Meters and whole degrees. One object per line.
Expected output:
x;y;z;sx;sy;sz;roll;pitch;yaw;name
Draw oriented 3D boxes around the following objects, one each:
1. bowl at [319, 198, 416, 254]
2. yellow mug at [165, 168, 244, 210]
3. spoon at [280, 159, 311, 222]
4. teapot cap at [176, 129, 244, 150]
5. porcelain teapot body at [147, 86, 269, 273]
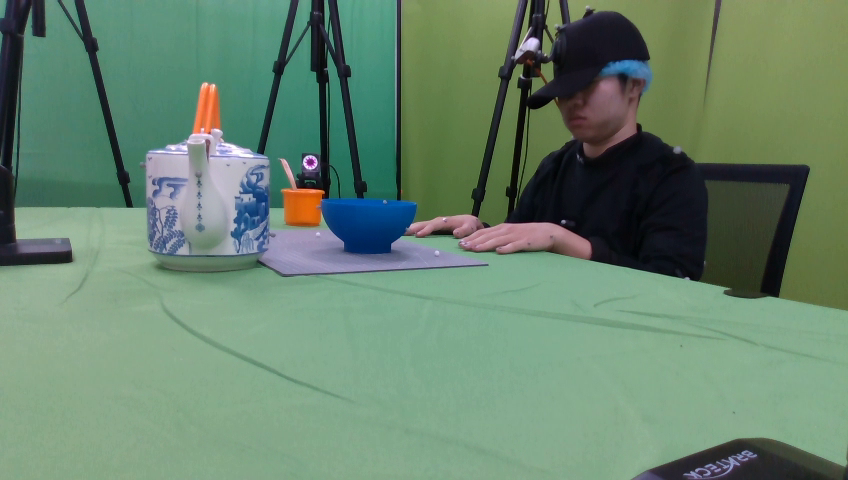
-0.089;-0.022;0.941;0.151;0.077;0.151;2;7;0;bowl
-0.370;-0.086;1.027;0.131;0.064;0.100;5;7;4;yellow mug
-0.285;-0.111;1.320;0.042;0.193;0.021;-3;-35;-30;spoon
-0.268;-0.117;0.760;0.085;0.044;0.085;4;10;0;teapot cap
-0.263;-0.074;0.738;0.146;0.225;0.204;1;8;-16;porcelain teapot body
